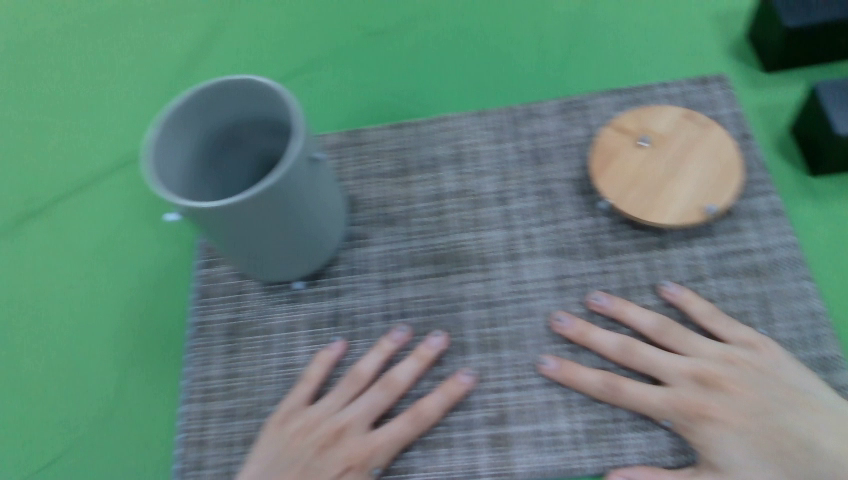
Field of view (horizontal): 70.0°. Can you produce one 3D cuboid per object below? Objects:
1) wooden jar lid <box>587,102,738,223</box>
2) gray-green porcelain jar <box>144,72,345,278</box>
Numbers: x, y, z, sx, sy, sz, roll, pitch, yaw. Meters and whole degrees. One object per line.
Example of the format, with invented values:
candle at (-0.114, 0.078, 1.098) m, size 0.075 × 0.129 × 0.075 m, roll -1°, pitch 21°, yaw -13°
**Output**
wooden jar lid at (0.180, -0.058, 0.462) m, size 0.108 × 0.021 × 0.107 m, roll -4°, pitch 63°, yaw 8°
gray-green porcelain jar at (-0.119, -0.038, 0.439) m, size 0.106 × 0.127 × 0.105 m, roll -4°, pitch 62°, yaw 7°
